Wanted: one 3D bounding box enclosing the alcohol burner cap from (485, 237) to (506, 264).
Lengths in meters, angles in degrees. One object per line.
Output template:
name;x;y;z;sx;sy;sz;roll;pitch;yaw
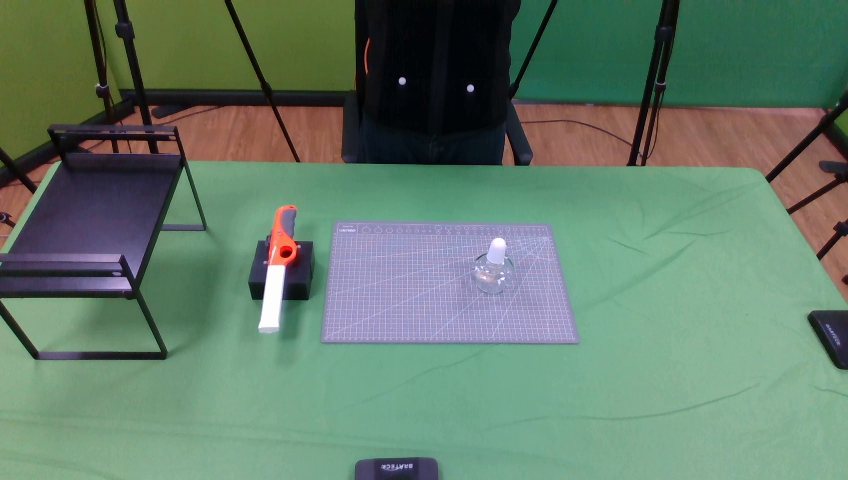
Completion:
alcohol burner cap;0.129;0.016;1.076;0.034;0.048;0.033;6;42;-5

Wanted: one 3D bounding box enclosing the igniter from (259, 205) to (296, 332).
igniter;-0.259;0.040;1.071;0.057;0.025;0.274;0;50;-5

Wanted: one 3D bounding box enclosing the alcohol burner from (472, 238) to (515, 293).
alcohol burner;0.128;0.041;1.101;0.078;0.120;0.077;1;47;-1
